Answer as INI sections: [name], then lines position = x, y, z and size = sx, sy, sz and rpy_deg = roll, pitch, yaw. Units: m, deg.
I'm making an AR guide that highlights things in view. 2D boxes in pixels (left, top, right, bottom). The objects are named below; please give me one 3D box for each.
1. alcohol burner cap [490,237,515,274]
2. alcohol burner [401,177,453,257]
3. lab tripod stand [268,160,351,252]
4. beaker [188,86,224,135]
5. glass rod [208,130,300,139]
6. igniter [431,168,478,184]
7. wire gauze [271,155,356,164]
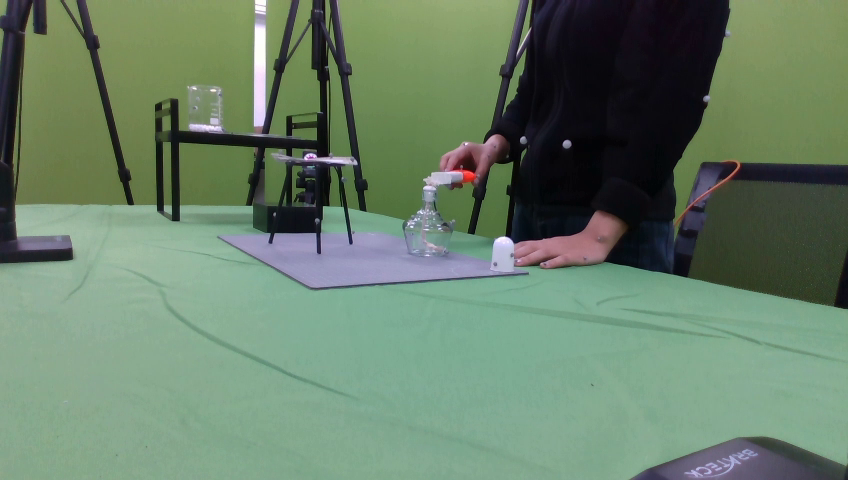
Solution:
[alcohol burner cap]
position = 0.104, 0.020, 0.793
size = 0.034, 0.048, 0.034
rpy_deg = 2, 6, 0
[alcohol burner]
position = 0.006, -0.035, 0.903
size = 0.078, 0.119, 0.078
rpy_deg = 4, 6, 0
[lab tripod stand]
position = -0.172, -0.055, 0.922
size = 0.148, 0.131, 0.148
rpy_deg = 1, 9, 0
[beaker]
position = -0.474, -0.280, 1.311
size = 0.074, 0.100, 0.084
rpy_deg = 5, 8, 26
[glass rod]
position = -0.367, -0.231, 1.321
size = 0.201, 0.008, 0.008
rpy_deg = -1, 8, -30
[igniter]
position = 0.057, -0.110, 1.045
size = 0.057, 0.025, 0.277
rpy_deg = 3, 8, 13
[wire gauze]
position = -0.167, -0.122, 0.917
size = 0.125, 0.011, 0.121
rpy_deg = 0, 7, -9
